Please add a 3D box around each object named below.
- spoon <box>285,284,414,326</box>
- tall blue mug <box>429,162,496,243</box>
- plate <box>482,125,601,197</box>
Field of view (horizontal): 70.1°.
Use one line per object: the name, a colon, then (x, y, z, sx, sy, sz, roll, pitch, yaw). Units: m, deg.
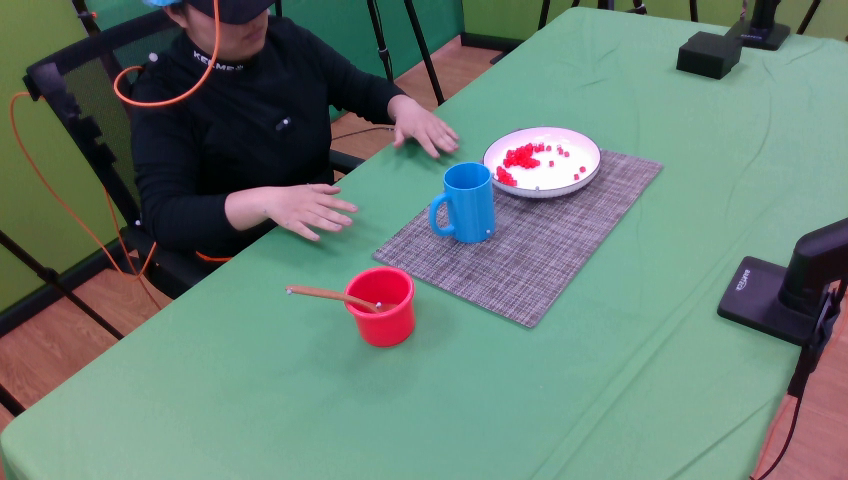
spoon: (-0.096, 0.083, 0.812, 0.195, 0.021, 0.041, 22, 31, -34)
tall blue mug: (0.066, -0.051, 0.960, 0.077, 0.108, 0.107, 17, 47, 27)
plate: (0.210, -0.138, 1.091, 0.207, 0.039, 0.206, -5, 40, 5)
